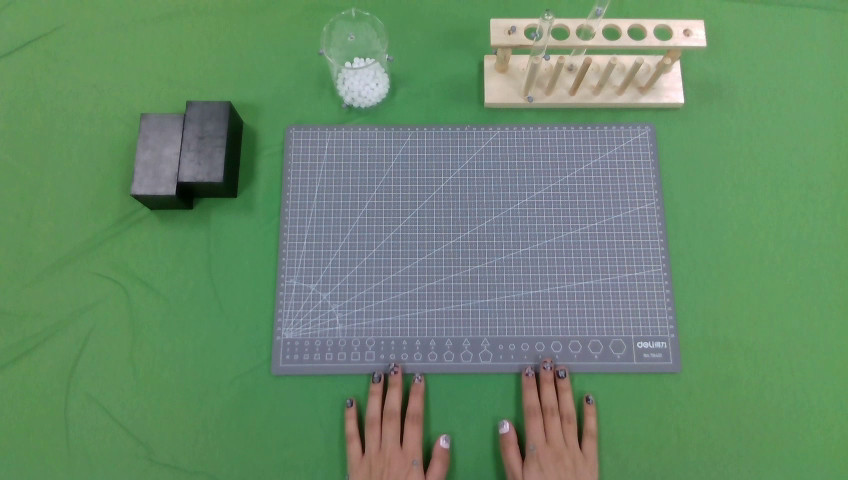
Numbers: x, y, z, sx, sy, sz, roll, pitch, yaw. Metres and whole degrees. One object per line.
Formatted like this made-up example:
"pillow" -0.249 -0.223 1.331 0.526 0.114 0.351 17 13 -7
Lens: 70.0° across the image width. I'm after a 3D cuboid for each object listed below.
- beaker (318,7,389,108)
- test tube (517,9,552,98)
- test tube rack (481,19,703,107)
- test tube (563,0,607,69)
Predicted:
"beaker" -0.079 -0.209 0.711 0.074 0.101 0.083 -4 74 -2
"test tube" 0.121 -0.202 0.671 0.017 0.151 0.017 0 72 0
"test tube rack" 0.193 -0.208 0.719 0.242 0.085 0.066 0 75 0
"test tube" 0.182 -0.239 0.676 0.017 0.151 0.017 1 72 -3
